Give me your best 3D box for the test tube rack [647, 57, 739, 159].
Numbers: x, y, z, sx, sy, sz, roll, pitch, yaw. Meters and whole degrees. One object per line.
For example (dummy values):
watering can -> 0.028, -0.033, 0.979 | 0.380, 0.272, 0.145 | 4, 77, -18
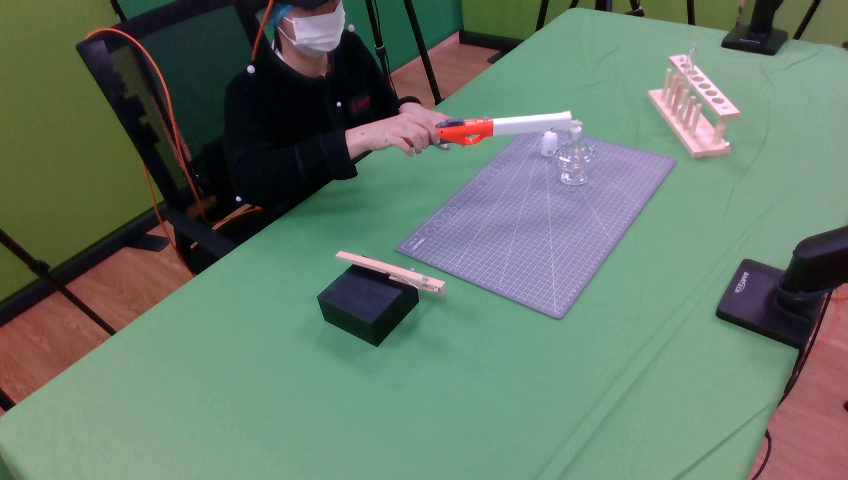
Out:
test tube rack -> 0.504, -0.257, 1.153 | 0.067, 0.085, 0.241 | -8, 40, 1

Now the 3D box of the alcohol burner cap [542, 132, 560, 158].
alcohol burner cap -> 0.238, -0.180, 1.134 | 0.034, 0.048, 0.033 | -5, 41, 5

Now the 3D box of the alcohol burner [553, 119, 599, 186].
alcohol burner -> 0.261, -0.153, 1.042 | 0.078, 0.119, 0.077 | -6, 40, 6

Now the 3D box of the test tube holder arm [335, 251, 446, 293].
test tube holder arm -> -0.050, 0.043, 0.853 | 0.177, 0.013, 0.015 | 17, 40, 24

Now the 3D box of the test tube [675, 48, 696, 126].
test tube -> 0.481, -0.279, 1.112 | 0.017, 0.151, 0.017 | -5, 40, 5

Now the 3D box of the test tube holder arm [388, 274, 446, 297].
test tube holder arm -> -0.010, 0.060, 0.838 | 0.087, 0.010, 0.015 | 17, 40, 24

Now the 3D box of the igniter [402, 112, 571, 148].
igniter -> 0.101, -0.180, 0.989 | 0.277, 0.057, 0.025 | -6, 53, -1
